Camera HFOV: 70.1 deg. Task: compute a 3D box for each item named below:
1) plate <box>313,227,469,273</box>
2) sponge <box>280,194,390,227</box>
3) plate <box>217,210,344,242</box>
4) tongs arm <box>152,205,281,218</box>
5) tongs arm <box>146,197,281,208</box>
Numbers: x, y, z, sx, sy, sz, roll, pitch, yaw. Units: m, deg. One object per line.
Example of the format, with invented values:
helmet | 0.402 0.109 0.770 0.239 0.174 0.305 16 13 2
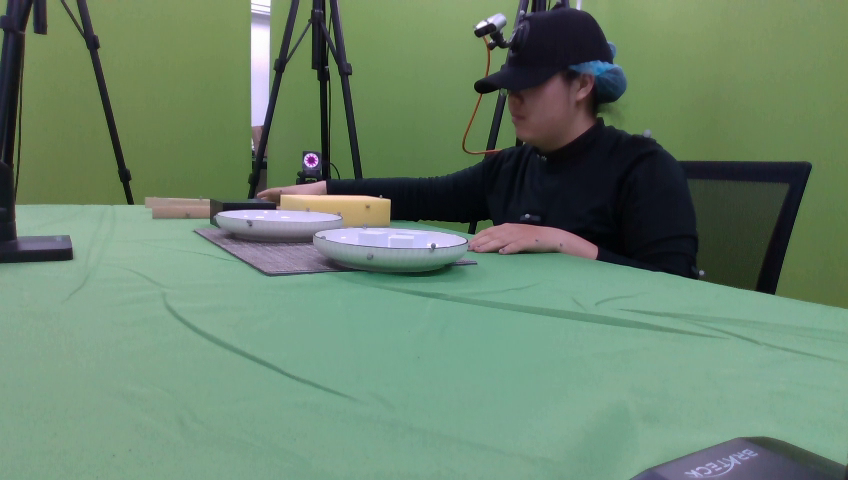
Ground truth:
plate | -0.044 0.012 0.807 0.209 0.038 0.209 2 7 0
sponge | -0.188 -0.063 1.291 0.208 0.061 0.117 -2 9 -35
plate | -0.241 -0.024 1.026 0.208 0.039 0.207 3 7 0
tongs arm | -0.397 -0.064 1.345 0.390 0.028 0.028 -3 6 -38
tongs arm | -0.437 -0.079 1.415 0.387 0.026 0.050 1 8 -25
